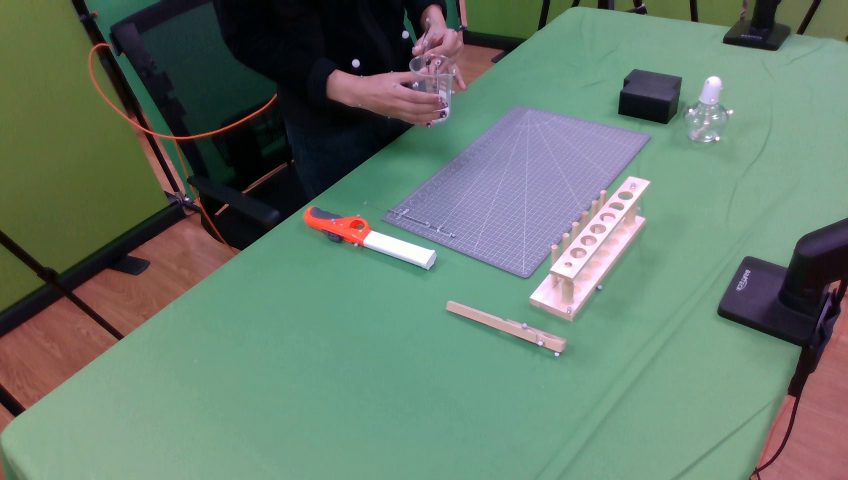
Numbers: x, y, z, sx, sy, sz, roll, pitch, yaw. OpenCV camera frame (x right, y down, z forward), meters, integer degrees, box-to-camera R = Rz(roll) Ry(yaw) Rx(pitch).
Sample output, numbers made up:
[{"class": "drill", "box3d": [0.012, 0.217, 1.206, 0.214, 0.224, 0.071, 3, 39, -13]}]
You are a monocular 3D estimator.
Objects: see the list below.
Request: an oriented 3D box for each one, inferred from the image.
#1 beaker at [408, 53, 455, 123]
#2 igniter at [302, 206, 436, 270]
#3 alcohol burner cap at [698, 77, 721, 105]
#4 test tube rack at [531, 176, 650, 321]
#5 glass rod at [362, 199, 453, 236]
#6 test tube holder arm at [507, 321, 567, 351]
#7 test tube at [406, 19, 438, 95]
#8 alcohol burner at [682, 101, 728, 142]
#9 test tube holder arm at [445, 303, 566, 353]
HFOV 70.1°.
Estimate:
[{"class": "beaker", "box3d": [0.014, -0.260, 1.049, 0.083, 0.100, 0.074, 21, 49, 18]}, {"class": "igniter", "box3d": [-0.101, -0.007, 1.004, 0.274, 0.025, 0.057, 20, 58, 29]}, {"class": "alcohol burner cap", "box3d": [0.509, -0.266, 1.072, 0.034, 0.048, 0.033, -4, 48, 5]}, {"class": "test tube rack", "box3d": [0.246, 0.002, 0.884, 0.066, 0.085, 0.243, 22, 49, 32]}, {"class": "glass rod", "box3d": [-0.031, -0.041, 1.041, 0.198, 0.008, 0.008, 22, 50, 31]}, {"class": "test tube holder arm", "box3d": [0.148, 0.128, 0.808, 0.087, 0.015, 0.010, 16, 11, 28]}, {"class": "test tube", "box3d": [-0.006, -0.327, 1.091, 0.017, 0.150, 0.017, 14, 41, -12]}, {"class": "alcohol burner", "box3d": [0.513, -0.239, 1.097, 0.078, 0.119, 0.077, -4, 40, 4]}, {"class": "test tube holder arm", "box3d": [0.107, 0.117, 0.824, 0.177, 0.015, 0.013, 16, 11, 27]}]
